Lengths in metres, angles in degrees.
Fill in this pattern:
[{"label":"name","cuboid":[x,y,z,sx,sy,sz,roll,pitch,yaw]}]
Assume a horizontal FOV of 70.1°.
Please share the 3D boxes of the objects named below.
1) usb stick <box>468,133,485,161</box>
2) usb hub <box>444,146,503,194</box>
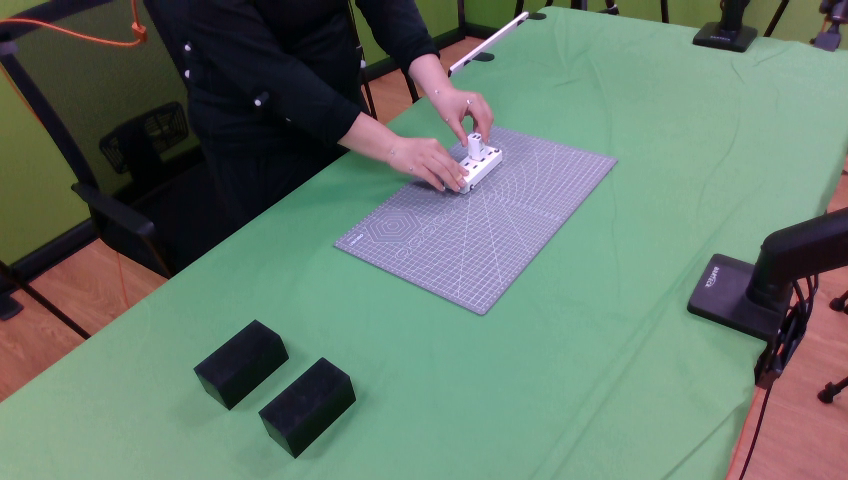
[{"label":"usb stick","cuboid":[0.095,-0.162,1.096,0.027,0.059,0.021,21,49,26]},{"label":"usb hub","cuboid":[0.091,-0.129,1.103,0.049,0.025,0.125,23,49,30]}]
